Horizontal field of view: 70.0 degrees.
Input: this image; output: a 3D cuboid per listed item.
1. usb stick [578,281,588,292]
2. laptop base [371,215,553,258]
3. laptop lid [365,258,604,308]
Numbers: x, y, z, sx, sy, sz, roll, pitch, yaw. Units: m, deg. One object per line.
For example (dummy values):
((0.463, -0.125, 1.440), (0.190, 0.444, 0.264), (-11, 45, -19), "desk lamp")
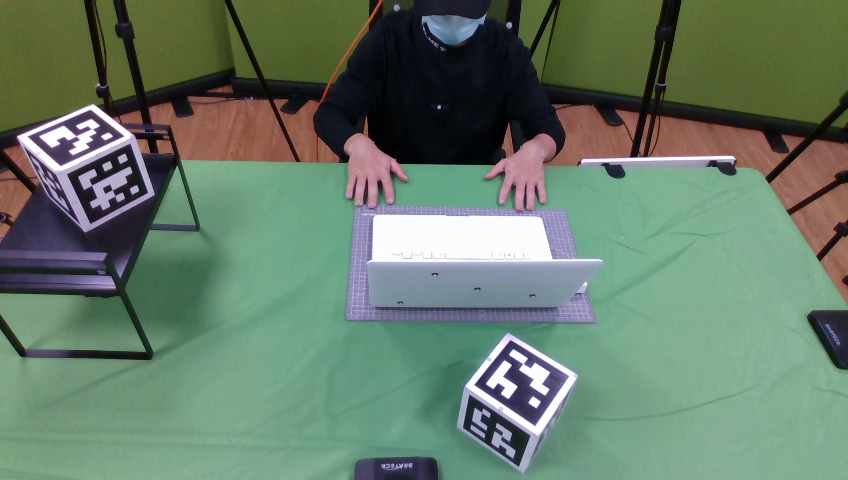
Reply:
((0.271, 0.082, 1.119), (0.059, 0.027, 0.021), (-2, 47, -1), "usb stick")
((0.075, 0.037, 1.167), (0.354, 0.023, 0.234), (0, 43, -4), "laptop base")
((0.085, 0.074, 0.978), (0.357, 0.242, 0.013), (1, 67, -5), "laptop lid")
